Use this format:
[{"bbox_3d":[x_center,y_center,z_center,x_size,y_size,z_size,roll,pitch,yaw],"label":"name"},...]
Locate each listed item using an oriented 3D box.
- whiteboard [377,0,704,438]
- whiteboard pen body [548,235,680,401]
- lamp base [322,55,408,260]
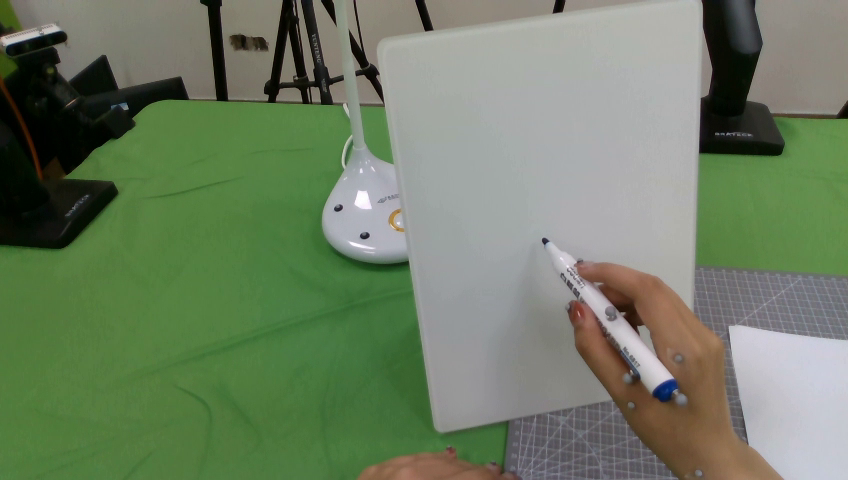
[{"bbox_3d":[0.089,-0.024,0.500,0.217,0.307,0.143,-9,21,-4],"label":"whiteboard"},{"bbox_3d":[0.113,0.042,0.382,0.017,0.017,0.139,-16,46,-13],"label":"whiteboard pen body"},{"bbox_3d":[-0.050,-0.096,0.652,0.161,0.182,0.177,-28,43,-25],"label":"lamp base"}]
